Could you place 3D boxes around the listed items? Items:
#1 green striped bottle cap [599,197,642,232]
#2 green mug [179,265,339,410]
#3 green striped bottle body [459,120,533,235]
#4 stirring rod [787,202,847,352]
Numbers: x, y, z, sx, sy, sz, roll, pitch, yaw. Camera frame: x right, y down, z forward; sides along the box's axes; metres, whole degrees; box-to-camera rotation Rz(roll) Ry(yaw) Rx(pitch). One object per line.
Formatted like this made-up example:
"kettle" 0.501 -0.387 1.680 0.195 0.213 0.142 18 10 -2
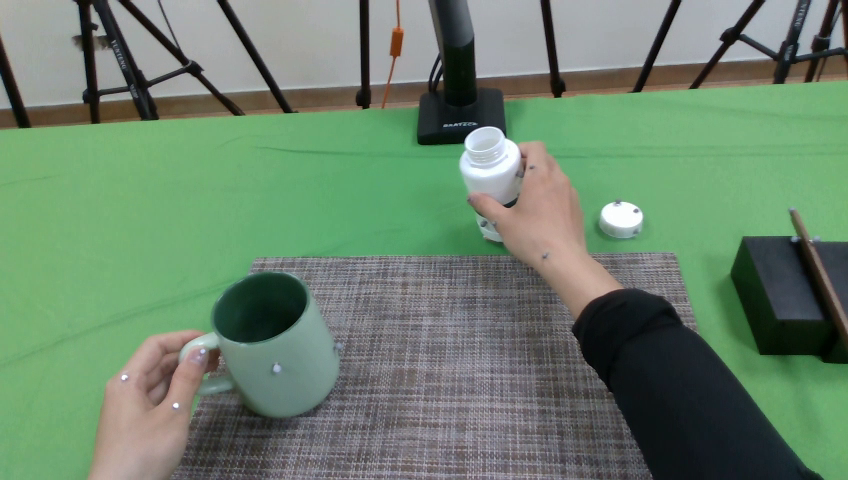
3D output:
"green striped bottle cap" 0.214 -0.028 0.659 0.044 0.020 0.044 -4 40 3
"green mug" -0.141 0.090 0.515 0.125 0.106 0.091 -20 46 -12
"green striped bottle body" 0.074 -0.065 0.629 0.063 0.120 0.062 -11 47 12
"stirring rod" 0.336 0.028 0.514 0.006 0.014 0.174 -2 44 12
